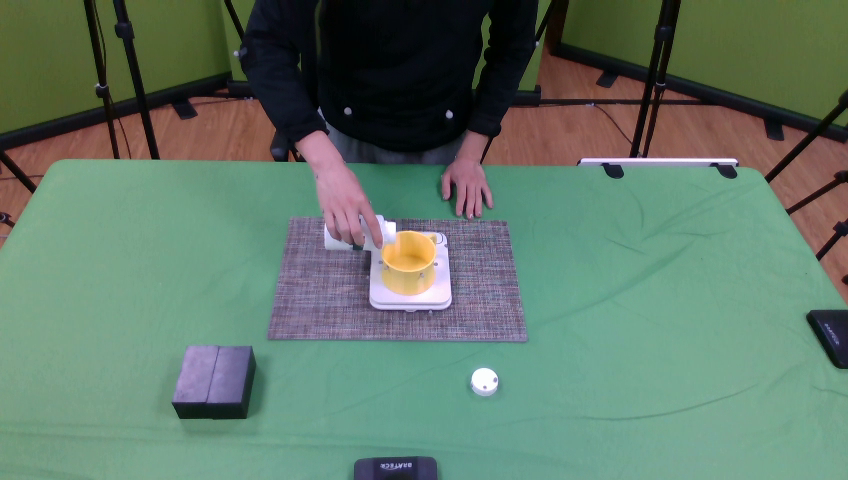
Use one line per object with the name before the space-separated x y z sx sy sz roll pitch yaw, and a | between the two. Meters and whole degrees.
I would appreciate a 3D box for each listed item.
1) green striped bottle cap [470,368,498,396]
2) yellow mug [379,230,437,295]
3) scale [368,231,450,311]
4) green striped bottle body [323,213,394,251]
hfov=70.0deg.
green striped bottle cap | 0.098 0.231 0.989 0.044 0.020 0.044 2 43 -2
yellow mug | -0.020 0.031 1.089 0.099 0.064 0.130 31 51 24
scale | -0.029 0.048 1.137 0.149 0.032 0.199 1 46 -4
green striped bottle body | -0.111 -0.014 1.035 0.119 0.063 0.063 1 46 -6
